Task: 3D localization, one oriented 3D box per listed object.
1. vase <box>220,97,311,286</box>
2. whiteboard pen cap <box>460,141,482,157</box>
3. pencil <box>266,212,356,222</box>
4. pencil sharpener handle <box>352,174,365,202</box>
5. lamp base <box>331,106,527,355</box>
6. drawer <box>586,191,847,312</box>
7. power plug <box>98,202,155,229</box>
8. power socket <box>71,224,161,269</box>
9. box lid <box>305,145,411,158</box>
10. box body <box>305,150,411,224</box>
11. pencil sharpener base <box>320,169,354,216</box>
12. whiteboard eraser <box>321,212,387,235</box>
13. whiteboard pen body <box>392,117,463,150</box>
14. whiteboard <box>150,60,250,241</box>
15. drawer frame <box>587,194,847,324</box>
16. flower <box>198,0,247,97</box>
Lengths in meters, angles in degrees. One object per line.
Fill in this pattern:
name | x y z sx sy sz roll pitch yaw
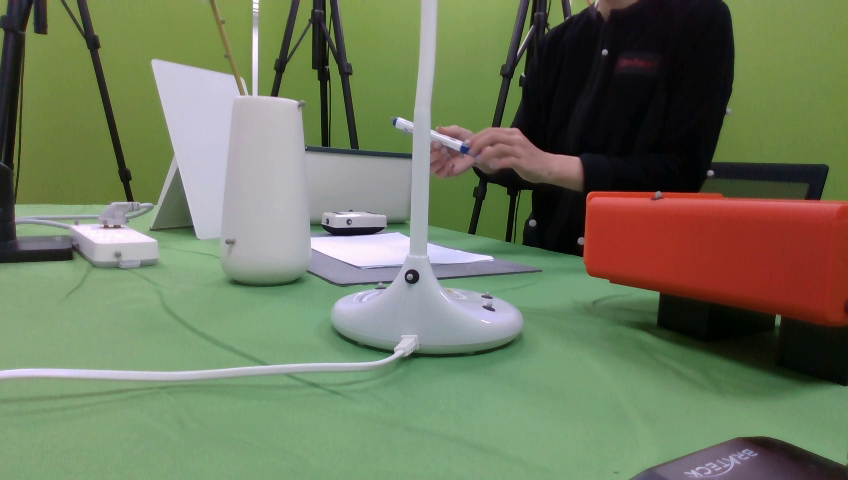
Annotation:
vase | -0.172 -0.052 0.662 0.098 0.200 0.098 3 8 0
whiteboard pen cap | 0.070 -0.138 0.915 0.033 0.018 0.018 22 12 12
pencil | -0.244 -0.049 1.318 0.195 0.012 0.012 4 7 -12
pencil sharpener handle | -0.156 -0.125 1.450 0.031 0.068 0.036 2 19 -11
lamp base | 0.006 -0.012 0.478 0.161 0.180 0.179 2 10 2
drawer | 0.281 0.001 0.513 0.195 0.073 0.210 -1 8 -29
power plug | -0.416 -0.027 0.848 0.073 0.052 0.035 0 8 -28
power socket | -0.408 0.004 0.793 0.072 0.032 0.225 -2 8 -38
box lid | -0.228 -0.200 1.362 0.373 0.015 0.262 -1 8 -33
box body | -0.230 -0.126 1.372 0.366 0.160 0.253 -2 8 -33
pencil sharpener base | -0.207 -0.113 1.438 0.077 0.107 0.061 2 6 -11
whiteboard eraser | -0.128 -0.031 1.108 0.113 0.042 0.055 -3 7 -38
whiteboard pen body | 0.017 -0.160 0.926 0.140 0.017 0.017 22 11 10
whiteboard | -0.408 -0.139 1.093 0.143 0.305 0.218 -15 -1 26
drawer frame | 0.285 0.004 0.508 0.203 0.082 0.212 -1 6 -29
flower | -0.187 -0.133 0.648 0.038 0.362 0.044 -1 21 43
